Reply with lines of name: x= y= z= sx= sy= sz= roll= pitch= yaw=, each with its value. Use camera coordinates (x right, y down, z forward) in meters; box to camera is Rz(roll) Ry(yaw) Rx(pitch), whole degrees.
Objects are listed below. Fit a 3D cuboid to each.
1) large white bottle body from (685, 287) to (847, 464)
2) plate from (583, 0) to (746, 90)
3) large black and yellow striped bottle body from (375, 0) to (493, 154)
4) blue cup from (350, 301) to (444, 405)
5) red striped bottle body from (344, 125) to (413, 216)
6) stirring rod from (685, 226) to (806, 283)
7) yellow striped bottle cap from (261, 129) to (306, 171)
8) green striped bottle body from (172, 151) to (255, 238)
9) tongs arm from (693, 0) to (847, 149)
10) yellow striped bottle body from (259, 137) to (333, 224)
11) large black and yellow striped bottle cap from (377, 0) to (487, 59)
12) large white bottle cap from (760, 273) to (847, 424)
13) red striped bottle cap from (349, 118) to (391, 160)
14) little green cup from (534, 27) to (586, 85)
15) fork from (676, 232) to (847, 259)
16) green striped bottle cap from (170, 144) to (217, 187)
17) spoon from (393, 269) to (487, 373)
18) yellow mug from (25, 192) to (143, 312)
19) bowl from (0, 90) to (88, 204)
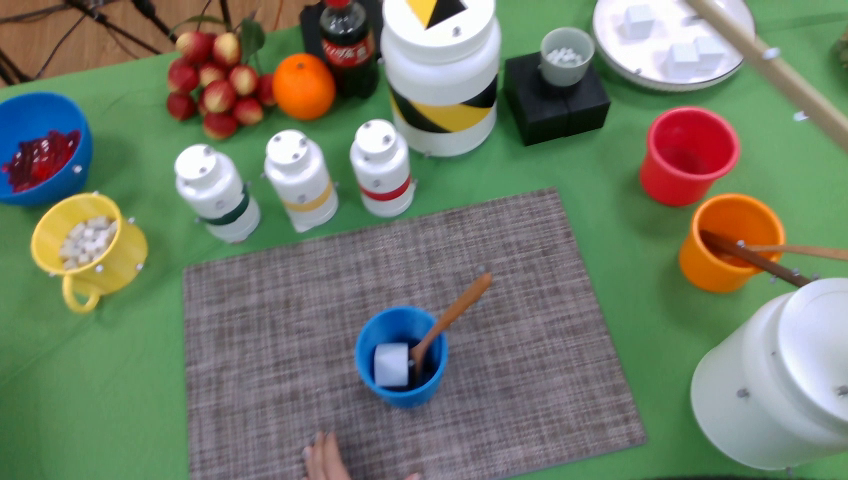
large white bottle body: x=0.321 y=0.118 z=0.529 sx=0.130 sy=0.186 sz=0.129 roll=-2 pitch=63 yaw=3
plate: x=0.314 y=-0.278 z=0.804 sx=0.209 sy=0.038 sz=0.207 roll=-1 pitch=65 yaw=3
large black and yellow striped bottle body: x=0.013 y=-0.201 z=0.703 sx=0.131 sy=0.185 sz=0.129 roll=-1 pitch=64 yaw=3
blue cup: x=-0.023 y=0.119 z=0.591 sx=0.092 sy=0.101 sz=0.092 roll=-1 pitch=61 yaw=2
red striped bottle body: x=-0.052 y=-0.082 z=0.685 sx=0.063 sy=0.121 sz=0.062 roll=-3 pitch=62 yaw=7
stirring rod: x=0.320 y=0.014 z=0.605 sx=0.014 sy=0.006 sz=0.174 roll=-19 pitch=22 yaw=-7
yellow striped bottle cap: x=-0.149 y=-0.095 z=0.638 sx=0.044 sy=0.019 sz=0.044 roll=-1 pitch=65 yaw=2
green striped bottle body: x=-0.238 y=-0.055 z=0.682 sx=0.063 sy=0.120 sz=0.062 roll=-1 pitch=63 yaw=3
tongs arm: x=0.323 y=-0.047 z=0.388 sx=0.051 sy=0.026 sz=0.383 roll=-40 pitch=82 yaw=-2
yellow striped bottle body: x=-0.145 y=-0.072 z=0.685 sx=0.063 sy=0.121 sz=0.062 roll=-2 pitch=64 yaw=4
large black and yellow striped bottle cap: x=0.008 y=-0.237 z=0.627 sx=0.115 sy=0.019 sz=0.114 roll=-2 pitch=63 yaw=4
large white bottle cap: x=0.314 y=0.079 z=0.453 sx=0.115 sy=0.018 sz=0.114 roll=-1 pitch=63 yaw=3
red striped bottle cap: x=-0.057 y=-0.107 z=0.638 sx=0.044 sy=0.018 sz=0.044 roll=0 pitch=62 yaw=0
little green cup: x=0.161 y=-0.219 z=0.728 sx=0.061 sy=0.039 sz=0.061 roll=-1 pitch=62 yaw=2
fork: x=0.348 y=0.008 z=0.601 sx=0.028 sy=0.019 sz=0.206 roll=-47 pitch=26 yaw=-23
green striped bottle cap: x=-0.242 y=-0.078 z=0.635 sx=0.044 sy=0.020 sz=0.044 roll=-1 pitch=63 yaw=2
spoon: x=0.007 y=0.088 z=0.562 sx=0.022 sy=0.194 sz=0.041 roll=-2 pitch=54 yaw=-31
yellow mug: x=-0.385 y=0.018 z=0.685 sx=0.100 sy=0.064 sz=0.129 roll=-3 pitch=64 yaw=1
bowl: x=-0.476 y=-0.100 z=0.741 sx=0.151 sy=0.077 sz=0.150 roll=-1 pitch=64 yaw=2
